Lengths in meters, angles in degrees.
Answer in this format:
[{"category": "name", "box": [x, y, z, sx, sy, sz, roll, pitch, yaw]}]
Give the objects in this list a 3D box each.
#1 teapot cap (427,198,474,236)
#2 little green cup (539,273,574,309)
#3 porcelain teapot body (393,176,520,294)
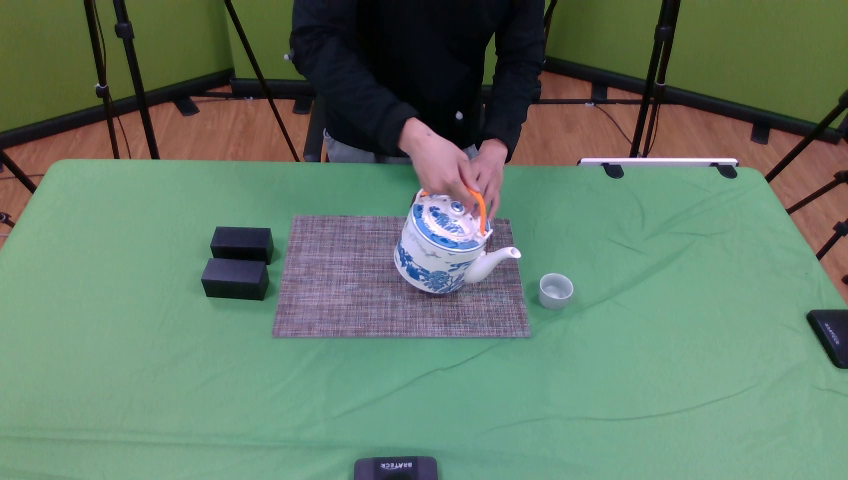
[{"category": "teapot cap", "box": [0.046, -0.042, 1.017, 0.085, 0.044, 0.084, 11, 48, -12]}, {"category": "little green cup", "box": [0.241, 0.096, 1.113, 0.061, 0.039, 0.061, 3, 47, -3]}, {"category": "porcelain teapot body", "box": [0.062, -0.003, 1.044, 0.205, 0.226, 0.145, 31, 47, 7]}]
